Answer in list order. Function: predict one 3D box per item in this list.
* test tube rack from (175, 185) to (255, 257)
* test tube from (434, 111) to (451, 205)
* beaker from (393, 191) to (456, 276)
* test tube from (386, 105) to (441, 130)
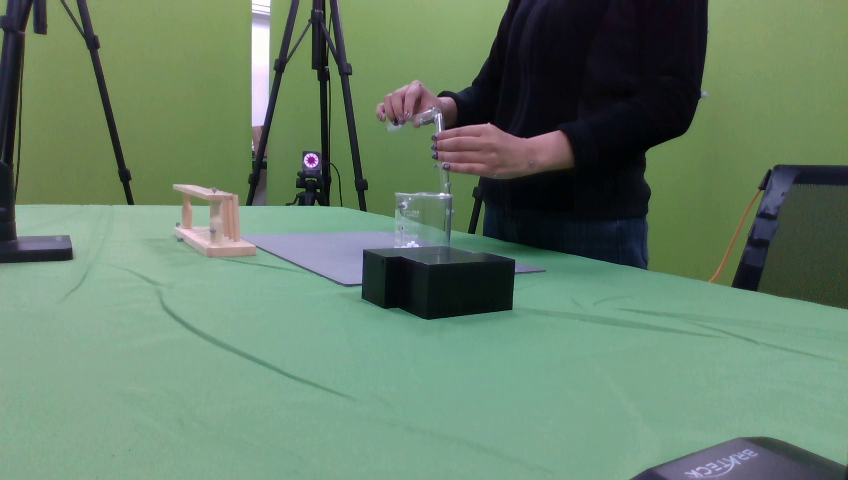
[{"bbox_3d":[-0.324,-0.035,0.922,0.067,0.085,0.241,-2,9,-31],"label":"test tube rack"},{"bbox_3d":[0.028,-0.124,0.905,0.017,0.150,0.017,-4,-15,-1],"label":"test tube"},{"bbox_3d":[-0.003,-0.010,0.749,0.074,0.100,0.083,-3,8,-40],"label":"beaker"},{"bbox_3d":[-0.020,-0.198,0.989,0.017,0.017,0.149,-3,1,-34],"label":"test tube"}]
